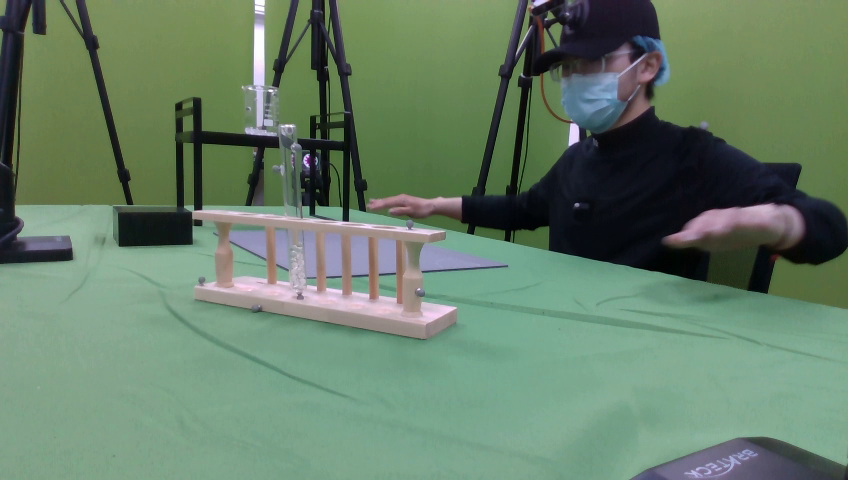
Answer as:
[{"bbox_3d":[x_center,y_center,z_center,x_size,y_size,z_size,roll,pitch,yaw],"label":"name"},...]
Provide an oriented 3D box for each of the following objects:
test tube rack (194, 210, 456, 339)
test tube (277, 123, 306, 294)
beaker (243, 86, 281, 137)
[{"bbox_3d":[-0.093,0.023,0.546,0.241,0.085,0.067,6,8,25],"label":"test tube rack"},{"bbox_3d":[-0.116,-0.027,0.530,0.017,0.150,0.017,-2,9,1],"label":"test tube"},{"bbox_3d":[-0.338,-0.265,1.253,0.073,0.100,0.084,8,9,38],"label":"beaker"}]
